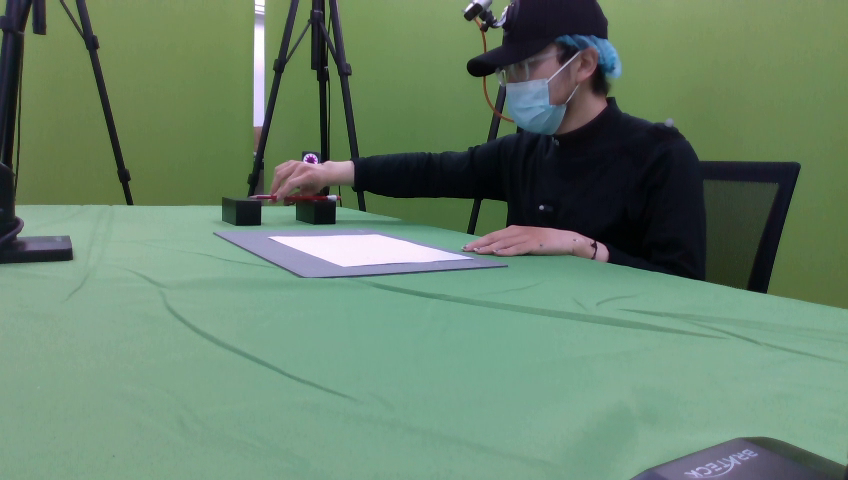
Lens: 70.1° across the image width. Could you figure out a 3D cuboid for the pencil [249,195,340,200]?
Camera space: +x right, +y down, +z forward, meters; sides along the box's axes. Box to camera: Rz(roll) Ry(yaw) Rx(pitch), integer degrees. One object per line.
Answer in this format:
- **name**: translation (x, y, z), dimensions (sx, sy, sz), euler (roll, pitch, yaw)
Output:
- **pencil**: translation (-0.274, -0.090, 1.288), dimensions (0.195, 0.012, 0.012), euler (-2, 9, -22)
